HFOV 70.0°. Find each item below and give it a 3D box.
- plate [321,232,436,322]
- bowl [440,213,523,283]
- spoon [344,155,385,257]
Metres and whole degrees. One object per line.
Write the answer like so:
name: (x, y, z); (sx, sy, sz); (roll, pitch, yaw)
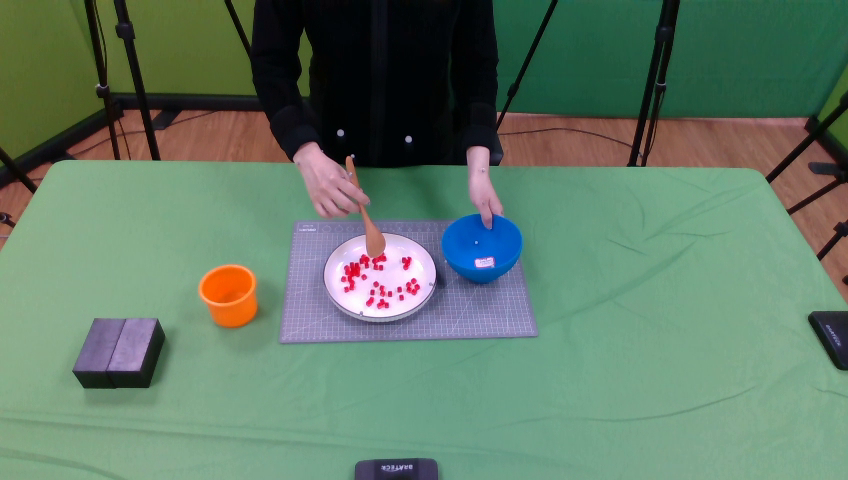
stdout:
plate: (-0.083, 0.070, 1.109); (0.209, 0.038, 0.208); (3, 46, -3)
bowl: (0.108, 0.027, 1.128); (0.151, 0.077, 0.150); (-4, 44, 4)
spoon: (-0.107, -0.055, 1.045); (0.041, 0.194, 0.021); (-28, 24, -24)
